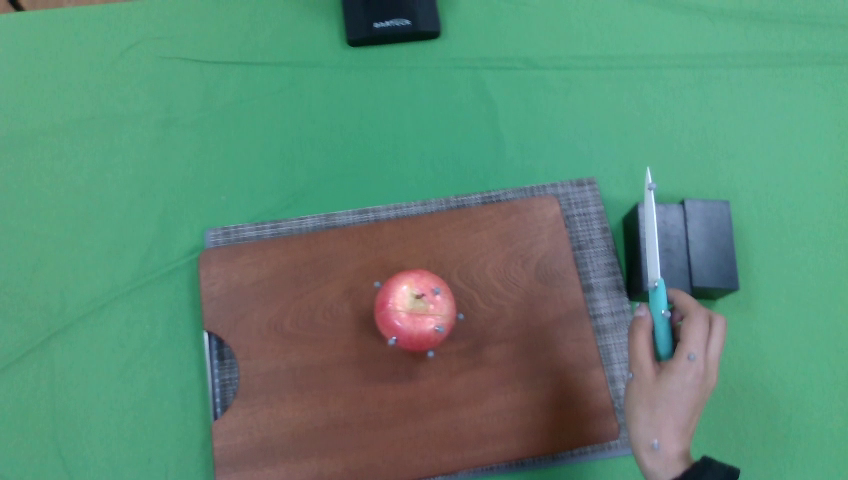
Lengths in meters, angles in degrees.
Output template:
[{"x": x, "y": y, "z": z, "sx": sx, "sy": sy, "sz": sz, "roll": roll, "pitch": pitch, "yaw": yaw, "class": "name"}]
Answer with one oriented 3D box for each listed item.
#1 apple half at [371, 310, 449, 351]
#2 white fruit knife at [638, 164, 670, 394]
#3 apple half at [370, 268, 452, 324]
[{"x": -0.015, "y": 0.094, "z": 0.594, "sx": 0.081, "sy": 0.082, "sz": 0.032, "roll": 4, "pitch": 68, "yaw": -1, "class": "apple half"}, {"x": 0.194, "y": 0.039, "z": 0.518, "sx": 0.016, "sy": 0.027, "sz": 0.208, "roll": -10, "pitch": 101, "yaw": -5, "class": "white fruit knife"}, {"x": -0.011, "y": 0.057, "z": 0.606, "sx": 0.081, "sy": 0.075, "sz": 0.053, "roll": 2, "pitch": 69, "yaw": 3, "class": "apple half"}]
